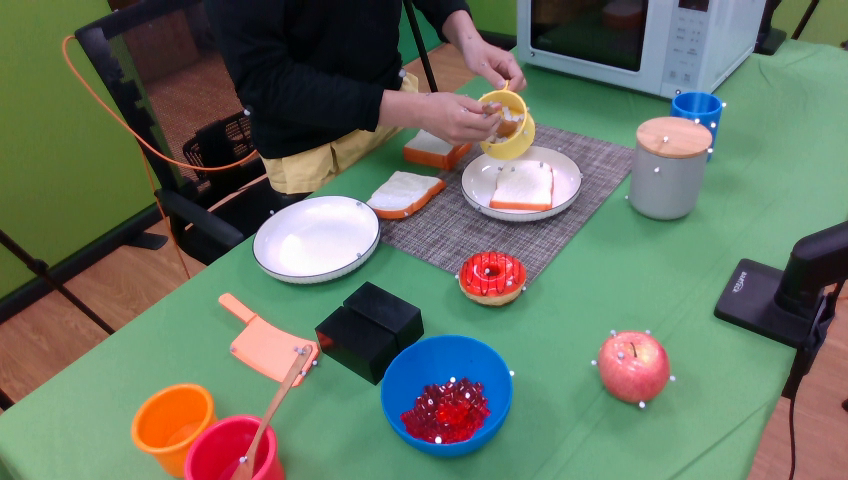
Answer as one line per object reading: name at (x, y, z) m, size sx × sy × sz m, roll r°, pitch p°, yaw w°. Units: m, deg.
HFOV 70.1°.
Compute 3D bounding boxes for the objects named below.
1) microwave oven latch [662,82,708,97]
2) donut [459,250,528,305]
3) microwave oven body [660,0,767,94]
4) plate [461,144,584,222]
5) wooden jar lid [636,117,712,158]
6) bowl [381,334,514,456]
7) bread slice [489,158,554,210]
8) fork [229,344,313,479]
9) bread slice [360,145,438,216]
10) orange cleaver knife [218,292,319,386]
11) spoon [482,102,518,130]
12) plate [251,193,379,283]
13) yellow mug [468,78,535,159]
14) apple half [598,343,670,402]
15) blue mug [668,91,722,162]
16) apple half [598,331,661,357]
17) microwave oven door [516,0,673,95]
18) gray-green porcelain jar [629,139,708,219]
microwave oven latch at (0.518, -0.298, 1.203) m, size 0.078 × 0.029 × 0.030 m, roll 28°, pitch 53°, yaw 35°
donut at (0.100, 0.053, 0.873) m, size 0.099 × 0.048 × 0.098 m, roll -5°, pitch 40°, yaw 4°
microwave oven body at (0.474, -0.517, 1.314) m, size 0.438 × 0.261 × 0.327 m, roll 26°, pitch 51°, yaw 34°
plate at (0.168, -0.095, 1.040) m, size 0.207 × 0.039 × 0.206 m, roll -4°, pitch 40°, yaw 4°
wooden jar lid at (0.377, -0.151, 0.917) m, size 0.108 × 0.021 × 0.108 m, roll -2°, pitch 41°, yaw 3°
bowl at (0.029, 0.192, 0.701) m, size 0.151 × 0.077 × 0.150 m, roll -4°, pitch 40°, yaw 4°
bread slice at (0.173, -0.100, 1.047) m, size 0.104 × 0.019 × 0.131 m, roll 4°, pitch 43°, yaw 12°
fork at (-0.173, 0.205, 0.662) m, size 0.028 × 0.019 × 0.207 m, roll 29°, pitch 94°, yaw 36°
bread slice at (-0.052, -0.103, 1.046) m, size 0.106 × 0.018 × 0.134 m, roll 19°, pitch 67°, yaw 23°
orange cleaver knife at (-0.235, 0.136, 0.850) m, size 0.209 × 0.012 × 0.077 m, roll 25°, pitch 57°, yaw 30°
spoon at (0.114, -0.195, 0.947) m, size 0.041 × 0.021 × 0.195 m, roll -17°, pitch -7°, yaw 18°
plate at (-0.174, -0.001, 0.985) m, size 0.209 × 0.038 × 0.208 m, roll -4°, pitch 41°, yaw 4°
yellow mug at (0.133, -0.210, 1.020) m, size 0.099 × 0.064 × 0.130 m, roll 5°, pitch 78°, yaw 23°
apple half at (0.247, 0.161, 0.710) m, size 0.081 × 0.075 × 0.053 m, roll 2°, pitch 47°, yaw 5°
blue mug at (0.474, -0.207, 1.078) m, size 0.082 × 0.106 × 0.116 m, roll 4°, pitch 42°, yaw 13°
apple half at (0.249, 0.134, 0.738) m, size 0.081 × 0.081 × 0.032 m, roll -1°, pitch 46°, yaw 7°
microwave oven door at (0.344, -0.458, 1.257) m, size 0.353 × 0.245 × 0.039 m, roll 26°, pitch 52°, yaw 33°
gray-green porcelain jar at (0.383, -0.105, 0.958) m, size 0.106 × 0.127 × 0.105 m, roll -4°, pitch 41°, yaw 4°
